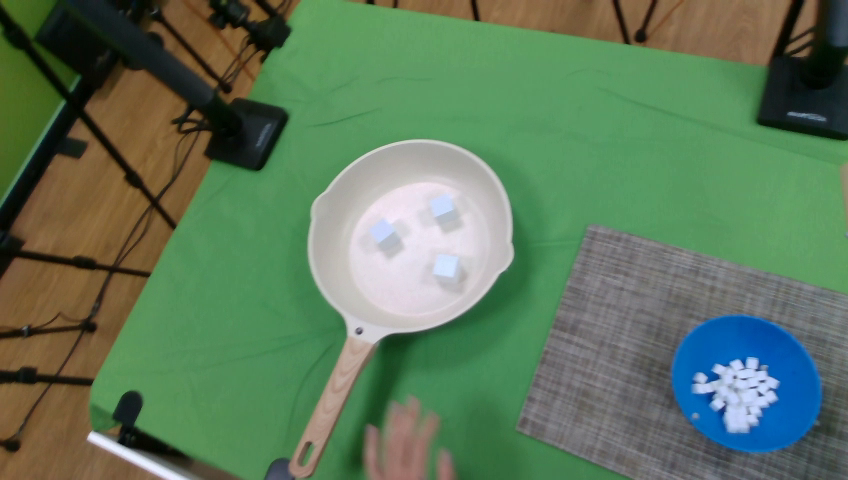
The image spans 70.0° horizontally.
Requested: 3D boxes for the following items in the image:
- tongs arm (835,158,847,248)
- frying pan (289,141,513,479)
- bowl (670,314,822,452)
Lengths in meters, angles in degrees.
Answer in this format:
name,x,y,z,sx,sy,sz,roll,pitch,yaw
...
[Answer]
name,x,y,z,sx,sy,sz,roll,pitch,yaw
tongs arm,0.421,0.113,0.546,0.028,0.028,0.386,-7,84,-3
frying pan,-0.060,0.085,0.820,0.305,0.104,0.485,16,64,21
bowl,0.356,0.167,0.692,0.151,0.077,0.150,-5,67,12
